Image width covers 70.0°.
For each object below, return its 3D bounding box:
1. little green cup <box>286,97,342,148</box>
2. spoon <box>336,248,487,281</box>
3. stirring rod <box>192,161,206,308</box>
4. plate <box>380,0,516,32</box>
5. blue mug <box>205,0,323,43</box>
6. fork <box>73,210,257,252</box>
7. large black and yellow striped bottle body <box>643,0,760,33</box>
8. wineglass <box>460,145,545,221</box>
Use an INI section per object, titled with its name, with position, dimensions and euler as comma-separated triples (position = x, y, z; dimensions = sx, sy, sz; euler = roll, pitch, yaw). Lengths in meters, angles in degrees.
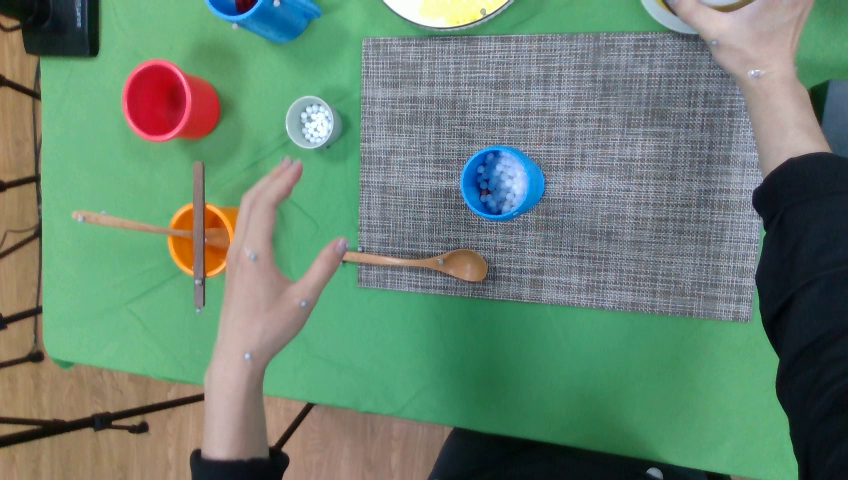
[little green cup]
position = -0.131, -0.140, 0.733
dimensions = 0.061, 0.038, 0.061
euler = 2, 96, 15
[spoon]
position = -0.018, 0.025, 0.725
dimensions = 0.193, 0.021, 0.042
euler = 3, 119, 14
[stirring rod]
position = -0.268, -0.005, 0.721
dimensions = 0.014, 0.006, 0.176
euler = 3, 97, 17
[plate]
position = 0.032, -0.335, 0.671
dimensions = 0.208, 0.038, 0.209
euler = 1, 97, 14
[blue mug]
position = -0.174, -0.276, 0.695
dimensions = 0.116, 0.106, 0.082
euler = 18, 100, 12
[fork]
position = -0.308, -0.011, 0.734
dimensions = 0.209, 0.018, 0.028
euler = 11, 108, -30
[large black and yellow striped bottle body]
position = 0.261, -0.271, 0.534
dimensions = 0.130, 0.184, 0.131
euler = 1, 95, 16
[wineglass]
position = 0.084, -0.057, 0.612
dimensions = 0.073, 0.172, 0.074
euler = 1, 95, 15
